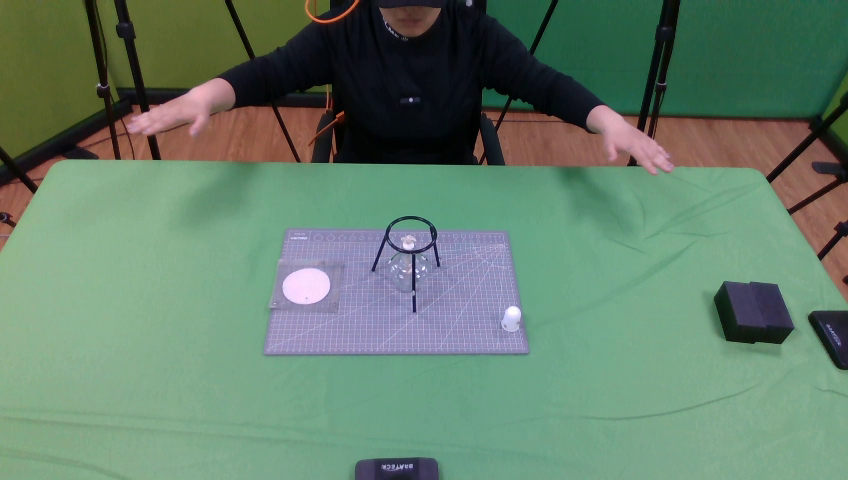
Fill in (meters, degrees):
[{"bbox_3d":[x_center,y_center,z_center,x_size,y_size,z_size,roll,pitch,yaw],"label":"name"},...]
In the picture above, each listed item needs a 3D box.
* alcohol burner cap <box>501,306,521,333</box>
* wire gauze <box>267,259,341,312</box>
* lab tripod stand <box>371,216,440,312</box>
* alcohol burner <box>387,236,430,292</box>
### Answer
[{"bbox_3d":[0.155,0.137,1.061,0.034,0.048,0.033,1,45,-1],"label":"alcohol burner cap"},{"bbox_3d":[-0.218,0.081,1.110,0.125,0.011,0.120,1,46,0],"label":"wire gauze"},{"bbox_3d":[-0.029,0.033,1.083,0.148,0.132,0.147,1,47,-1],"label":"lab tripod stand"},{"bbox_3d":[-0.028,0.038,1.093,0.078,0.120,0.077,1,46,-1],"label":"alcohol burner"}]
